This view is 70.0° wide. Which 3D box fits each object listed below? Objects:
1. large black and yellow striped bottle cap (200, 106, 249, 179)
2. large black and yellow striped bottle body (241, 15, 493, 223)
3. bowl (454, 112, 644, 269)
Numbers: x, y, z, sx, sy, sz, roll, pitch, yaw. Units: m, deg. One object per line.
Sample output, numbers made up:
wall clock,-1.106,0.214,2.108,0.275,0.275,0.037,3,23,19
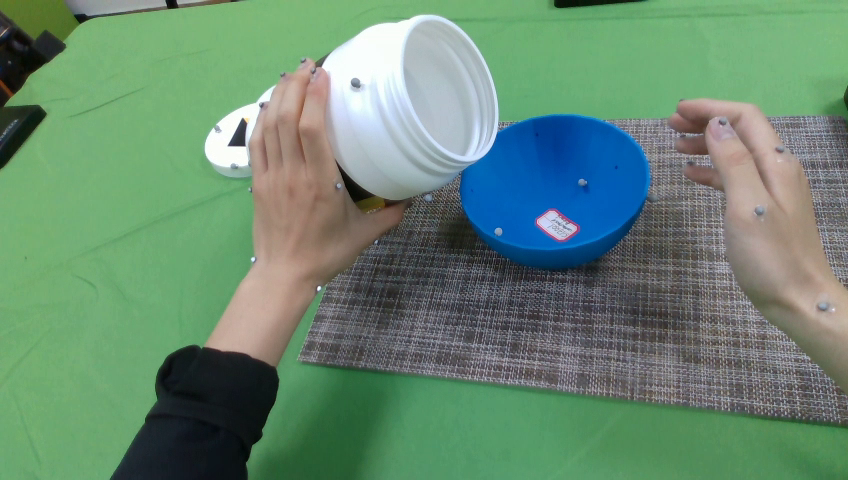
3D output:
large black and yellow striped bottle cap,-0.209,-0.119,0.720,0.115,0.019,0.114,-7,51,9
large black and yellow striped bottle body,-0.048,-0.093,0.494,0.183,0.132,0.130,-13,44,41
bowl,0.105,-0.029,0.513,0.151,0.077,0.150,-7,51,10
